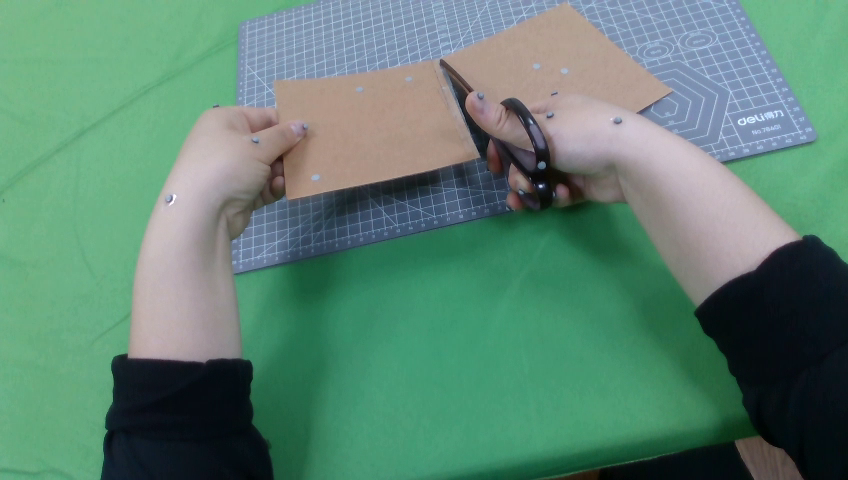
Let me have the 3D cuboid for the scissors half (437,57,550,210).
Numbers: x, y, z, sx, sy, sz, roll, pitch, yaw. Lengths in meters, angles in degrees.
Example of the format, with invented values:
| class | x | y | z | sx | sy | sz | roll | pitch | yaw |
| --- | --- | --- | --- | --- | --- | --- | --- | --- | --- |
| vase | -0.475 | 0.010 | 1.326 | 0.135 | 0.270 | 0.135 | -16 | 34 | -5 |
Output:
| class | x | y | z | sx | sy | sz | roll | pitch | yaw |
| --- | --- | --- | --- | --- | --- | --- | --- | --- | --- |
| scissors half | 0.045 | -0.086 | 0.450 | 0.013 | 0.040 | 0.173 | -24 | 58 | -6 |

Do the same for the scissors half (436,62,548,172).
| class | x | y | z | sx | sy | sz | roll | pitch | yaw |
| --- | --- | --- | --- | --- | --- | --- | --- | --- | --- |
| scissors half | 0.042 | -0.099 | 0.434 | 0.013 | 0.040 | 0.173 | -21 | 37 | -10 |

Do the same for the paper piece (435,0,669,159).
| class | x | y | z | sx | sy | sz | roll | pitch | yaw |
| --- | --- | --- | --- | --- | --- | --- | --- | --- | --- |
| paper piece | 0.101 | -0.134 | 0.489 | 0.135 | 0.004 | 0.134 | -29 | 64 | -14 |

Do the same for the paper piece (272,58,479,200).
| class | x | y | z | sx | sy | sz | roll | pitch | yaw |
| --- | --- | --- | --- | --- | --- | --- | --- | --- | --- |
| paper piece | -0.043 | -0.090 | 0.451 | 0.138 | 0.009 | 0.134 | -13 | 45 | -4 |
